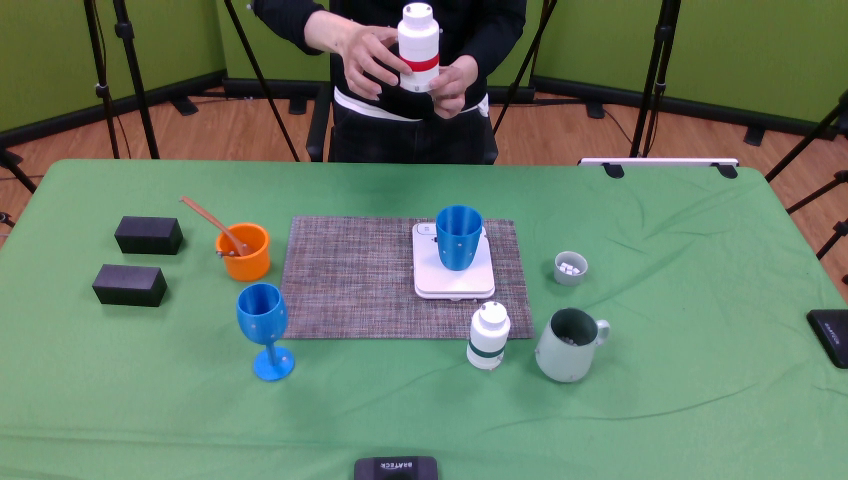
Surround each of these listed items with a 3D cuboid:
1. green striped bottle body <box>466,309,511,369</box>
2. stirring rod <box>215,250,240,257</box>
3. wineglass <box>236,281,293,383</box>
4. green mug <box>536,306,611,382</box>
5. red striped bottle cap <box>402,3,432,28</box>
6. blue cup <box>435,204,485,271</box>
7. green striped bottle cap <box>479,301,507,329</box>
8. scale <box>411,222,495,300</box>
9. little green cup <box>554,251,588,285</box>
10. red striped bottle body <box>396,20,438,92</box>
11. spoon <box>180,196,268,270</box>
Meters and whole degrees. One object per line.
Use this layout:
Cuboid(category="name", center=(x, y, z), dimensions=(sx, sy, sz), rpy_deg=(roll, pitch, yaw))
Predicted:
Cuboid(category="green striped bottle body", center=(0.106, 0.154, 0.988), dimensions=(0.063, 0.120, 0.063), rpy_deg=(2, 46, -2))
Cuboid(category="stirring rod", center=(-0.339, 0.024, 1.059), dimensions=(0.014, 0.176, 0.006), rpy_deg=(15, 86, -6))
Cuboid(category="wineglass", center=(-0.243, 0.143, 0.934), dimensions=(0.074, 0.173, 0.073), rpy_deg=(2, 46, -2))
Cuboid(category="green mug", center=(0.250, 0.167, 0.996), dimensions=(0.125, 0.105, 0.092), rpy_deg=(-15, 48, -19))
Cuboid(category="red striped bottle cap", center=(-0.011, -0.332, 0.893), dimensions=(0.044, 0.018, 0.044), rpy_deg=(-1, 50, 1))
Cuboid(category="blue cup", center=(0.060, 0.001, 1.097), dimensions=(0.092, 0.101, 0.092), rpy_deg=(1, 44, -1))
Cuboid(category="green striped bottle cap", center=(0.109, 0.118, 0.950), dimensions=(0.044, 0.020, 0.044), rpy_deg=(2, 47, -2))
Cuboid(category="scale", center=(0.052, 0.031, 1.158), dimensions=(0.149, 0.032, 0.199), rpy_deg=(1, 46, -4))
Cuboid(category="little green cup", center=(0.277, 0.055, 1.151), dimensions=(0.061, 0.039, 0.061), rpy_deg=(1, 46, -1))
Cuboid(category="red striped bottle body", center=(-0.009, -0.295, 0.932), dimensions=(0.063, 0.120, 0.062), rpy_deg=(-1, 48, 1))
Cuboid(category="spoon", center=(-0.360, -0.014, 1.094), dimensions=(0.021, 0.194, 0.041), rpy_deg=(-27, 26, 31))
